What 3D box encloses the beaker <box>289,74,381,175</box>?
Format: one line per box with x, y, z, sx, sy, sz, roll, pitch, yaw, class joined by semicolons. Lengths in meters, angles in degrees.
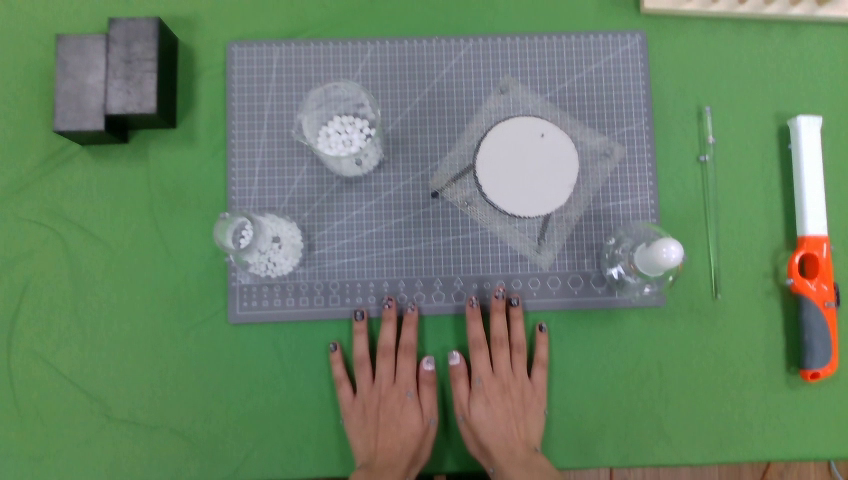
-0.082;-0.105;0.589;0.084;0.100;0.074;-19;85;-2;beaker

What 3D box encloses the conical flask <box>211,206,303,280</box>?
-0.160;-0.002;0.566;0.075;0.122;0.075;0;84;-1;conical flask

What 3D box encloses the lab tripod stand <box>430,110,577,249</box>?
0.079;-0.058;0.572;0.148;0.131;0.148;0;86;0;lab tripod stand

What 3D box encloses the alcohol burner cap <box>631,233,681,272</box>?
0.210;0.009;0.543;0.034;0.048;0.033;1;78;-4;alcohol burner cap

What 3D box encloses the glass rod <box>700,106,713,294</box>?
0.299;-0.043;0.641;0.008;0.008;0.199;-1;88;-2;glass rod

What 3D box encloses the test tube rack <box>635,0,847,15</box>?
0.353;-0.287;0.625;0.242;0.085;0.066;1;84;-1;test tube rack

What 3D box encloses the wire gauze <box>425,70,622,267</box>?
0.083;-0.062;0.505;0.125;0.011;0.121;35;86;2;wire gauze

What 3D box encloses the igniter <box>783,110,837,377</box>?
0.399;0.002;0.630;0.057;0.025;0.276;1;85;-12;igniter

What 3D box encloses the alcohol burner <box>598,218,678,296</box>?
0.209;0.014;0.578;0.078;0.119;0.077;0;84;2;alcohol burner
